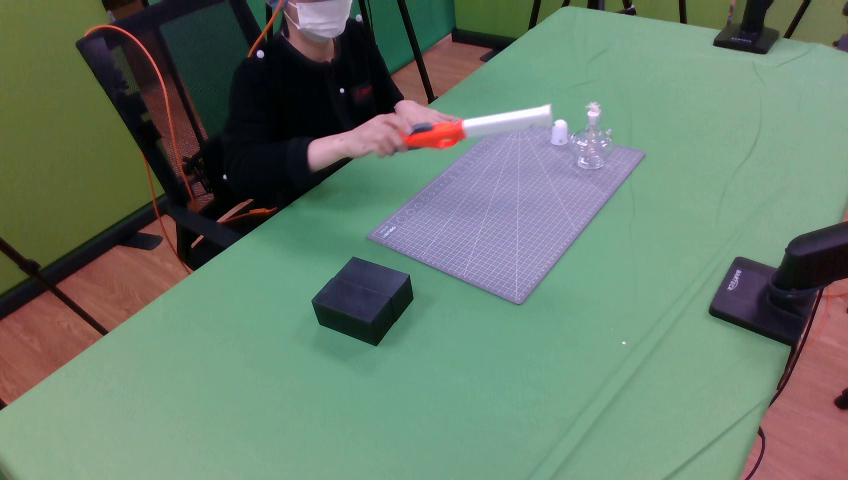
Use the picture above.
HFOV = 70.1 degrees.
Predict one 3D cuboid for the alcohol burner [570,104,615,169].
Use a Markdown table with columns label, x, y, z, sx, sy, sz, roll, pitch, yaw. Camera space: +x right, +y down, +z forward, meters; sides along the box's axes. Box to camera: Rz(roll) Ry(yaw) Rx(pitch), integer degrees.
| label | x | y | z | sx | sy | sz | roll | pitch | yaw |
| --- | --- | --- | --- | --- | --- | --- | --- | --- | --- |
| alcohol burner | 0.299 | -0.186 | 1.071 | 0.078 | 0.119 | 0.077 | -6 | 41 | 6 |

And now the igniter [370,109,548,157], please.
| label | x | y | z | sx | sy | sz | roll | pitch | yaw |
| --- | --- | --- | --- | --- | --- | --- | --- | --- | --- |
| igniter | 0.044 | -0.157 | 0.900 | 0.275 | 0.057 | 0.025 | -6 | 60 | 18 |

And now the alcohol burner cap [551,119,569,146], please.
| label | x | y | z | sx | sy | sz | roll | pitch | yaw |
| --- | --- | --- | --- | --- | --- | --- | --- | --- | --- |
| alcohol burner cap | 0.261 | -0.207 | 1.156 | 0.034 | 0.048 | 0.033 | -5 | 41 | 5 |
